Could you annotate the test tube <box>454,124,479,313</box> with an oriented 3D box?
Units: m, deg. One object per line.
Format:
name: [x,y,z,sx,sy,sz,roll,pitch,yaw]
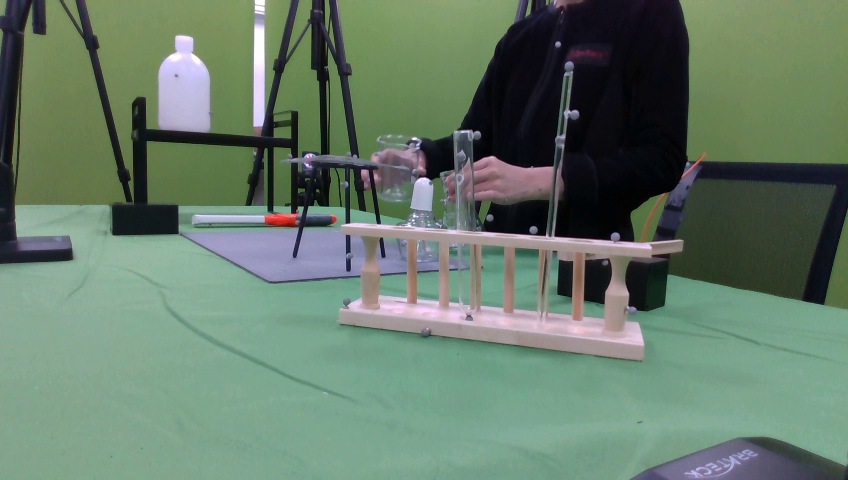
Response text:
test tube: [0.034,-0.015,0.477,0.017,0.150,0.017,-2,9,1]

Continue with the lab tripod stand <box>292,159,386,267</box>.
lab tripod stand: [-0.105,-0.039,0.797,0.148,0.131,0.148,2,5,0]

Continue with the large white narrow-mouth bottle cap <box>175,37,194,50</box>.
large white narrow-mouth bottle cap: [-0.501,-0.409,1.264,0.038,0.024,0.037,2,7,0]

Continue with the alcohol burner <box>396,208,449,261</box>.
alcohol burner: [-0.002,-0.031,0.846,0.078,0.119,0.078,0,6,0]

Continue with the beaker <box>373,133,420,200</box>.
beaker: [-0.043,-0.121,1.004,0.074,0.100,0.083,-16,27,-40]

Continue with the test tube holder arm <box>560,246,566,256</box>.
test tube holder arm: [0.173,0.007,0.612,0.088,0.015,0.010,-3,9,-30]

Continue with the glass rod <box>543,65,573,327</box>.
glass rod: [0.101,-0.028,0.453,0.008,0.199,0.008,2,13,0]

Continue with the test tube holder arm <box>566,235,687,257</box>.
test tube holder arm: [0.215,0.006,0.630,0.179,0.015,0.013,-3,9,-31]

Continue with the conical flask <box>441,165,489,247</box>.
conical flask: [0.056,-0.054,0.943,0.075,0.122,0.075,-13,7,2]

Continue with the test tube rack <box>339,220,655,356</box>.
test tube rack: [0.056,0.032,0.495,0.242,0.085,0.067,4,7,15]

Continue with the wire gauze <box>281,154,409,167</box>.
wire gauze: [-0.104,-0.104,0.784,0.126,0.011,0.121,-2,8,-38]

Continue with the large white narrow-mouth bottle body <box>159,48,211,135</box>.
large white narrow-mouth bottle body: [-0.503,-0.323,1.275,0.102,0.194,0.102,2,7,0]

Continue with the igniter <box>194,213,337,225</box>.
igniter: [-0.306,-0.042,1.196,0.278,0.025,0.057,-2,-2,-31]

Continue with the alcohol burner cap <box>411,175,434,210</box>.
alcohol burner cap: [0.000,-0.067,0.842,0.034,0.048,0.034,7,8,-1]
